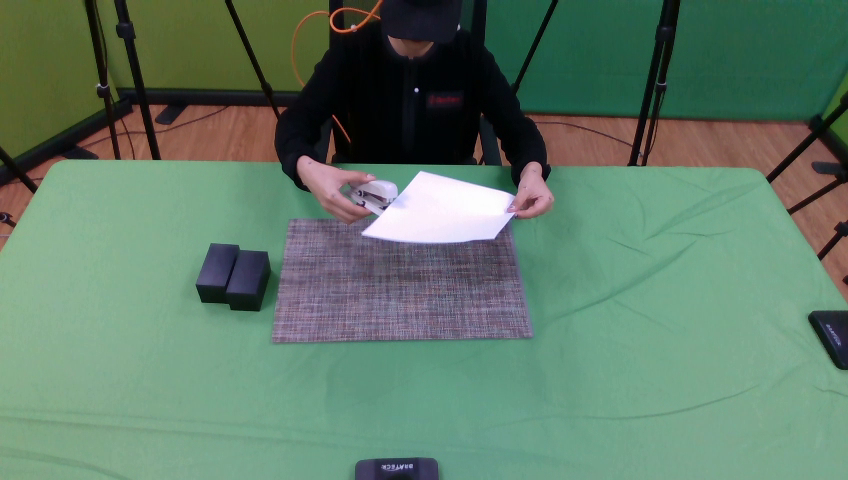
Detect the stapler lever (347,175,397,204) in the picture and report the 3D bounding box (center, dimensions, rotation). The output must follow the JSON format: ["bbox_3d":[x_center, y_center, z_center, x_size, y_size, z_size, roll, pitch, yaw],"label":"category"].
[{"bbox_3d":[-0.092,-0.099,1.080,0.027,0.040,0.117,-11,32,-43],"label":"stapler lever"}]

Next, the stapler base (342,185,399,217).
[{"bbox_3d":[-0.095,-0.076,1.090,0.041,0.024,0.130,-11,31,-43],"label":"stapler base"}]
